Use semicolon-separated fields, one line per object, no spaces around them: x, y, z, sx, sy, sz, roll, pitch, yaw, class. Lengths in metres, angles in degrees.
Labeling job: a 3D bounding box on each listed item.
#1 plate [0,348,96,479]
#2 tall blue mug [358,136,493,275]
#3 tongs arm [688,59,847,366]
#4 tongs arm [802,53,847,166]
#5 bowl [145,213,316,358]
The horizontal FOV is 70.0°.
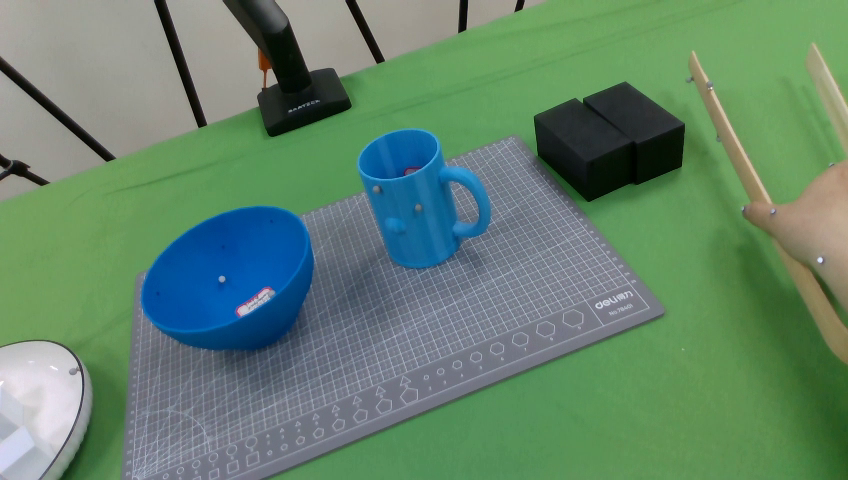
-0.375;0.185;0.511;0.209;0.038;0.207;-9;42;8;plate
0.006;-0.034;0.564;0.107;0.109;0.077;-13;41;4;tall blue mug
0.300;-0.049;0.522;0.051;0.027;0.381;-1;46;6;tongs arm
0.365;-0.050;0.513;0.028;0.028;0.384;8;48;9;tongs arm
-0.161;0.053;0.548;0.151;0.077;0.150;-9;42;9;bowl
